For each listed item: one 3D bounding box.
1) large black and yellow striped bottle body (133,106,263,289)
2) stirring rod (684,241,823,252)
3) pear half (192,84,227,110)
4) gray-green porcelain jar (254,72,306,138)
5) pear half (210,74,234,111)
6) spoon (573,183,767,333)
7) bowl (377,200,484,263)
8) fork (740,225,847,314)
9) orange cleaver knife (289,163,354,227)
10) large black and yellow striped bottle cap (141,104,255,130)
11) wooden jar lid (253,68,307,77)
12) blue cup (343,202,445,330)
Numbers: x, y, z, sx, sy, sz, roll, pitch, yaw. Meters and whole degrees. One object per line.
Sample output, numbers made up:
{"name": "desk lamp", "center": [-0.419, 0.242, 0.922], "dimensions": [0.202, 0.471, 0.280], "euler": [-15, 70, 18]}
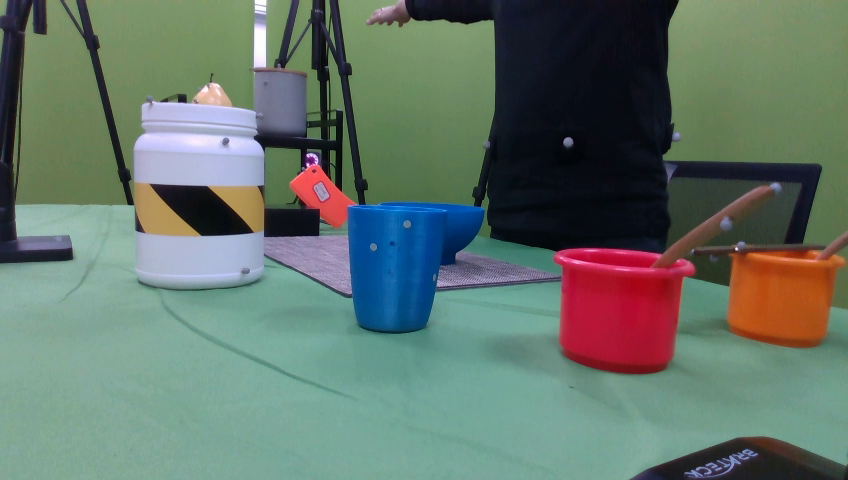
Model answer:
{"name": "large black and yellow striped bottle body", "center": [-0.243, -0.048, 0.659], "dimensions": [0.131, 0.184, 0.130], "euler": [2, 7, 0]}
{"name": "stirring rod", "center": [0.289, 0.005, 0.525], "dimensions": [0.177, 0.006, 0.014], "euler": [-1, 5, -26]}
{"name": "pear half", "center": [-0.405, -0.248, 1.128], "dimensions": [0.070, 0.088, 0.031], "euler": [6, 6, 2]}
{"name": "gray-green porcelain jar", "center": [-0.299, -0.277, 1.257], "dimensions": [0.106, 0.126, 0.106], "euler": [2, 8, 0]}
{"name": "pear half", "center": [-0.401, -0.262, 1.162], "dimensions": [0.076, 0.109, 0.056], "euler": [7, 7, 2]}
{"name": "spoon", "center": [0.158, 0.020, 0.412], "dimensions": [0.042, 0.021, 0.193], "euler": [-2, -35, -21]}
{"name": "bowl", "center": [0.008, -0.012, 0.842], "dimensions": [0.151, 0.077, 0.151], "euler": [2, 7, 0]}
{"name": "fork", "center": [0.323, 0.013, 0.485], "dimensions": [0.028, 0.018, 0.207], "euler": [9, -38, -5]}
{"name": "orange cleaver knife", "center": [-0.164, -0.066, 1.159], "dimensions": [0.212, 0.077, 0.012], "euler": [39, -15, -31]}
{"name": "large black and yellow striped bottle cap", "center": [-0.241, -0.131, 0.650], "dimensions": [0.115, 0.019, 0.115], "euler": [3, 8, 0]}
{"name": "wooden jar lid", "center": [-0.296, -0.339, 1.250], "dimensions": [0.108, 0.020, 0.108], "euler": [3, 10, 0]}
{"name": "blue cup", "center": [-0.027, 0.020, 0.510], "dimensions": [0.093, 0.100, 0.092], "euler": [3, 5, 0]}
